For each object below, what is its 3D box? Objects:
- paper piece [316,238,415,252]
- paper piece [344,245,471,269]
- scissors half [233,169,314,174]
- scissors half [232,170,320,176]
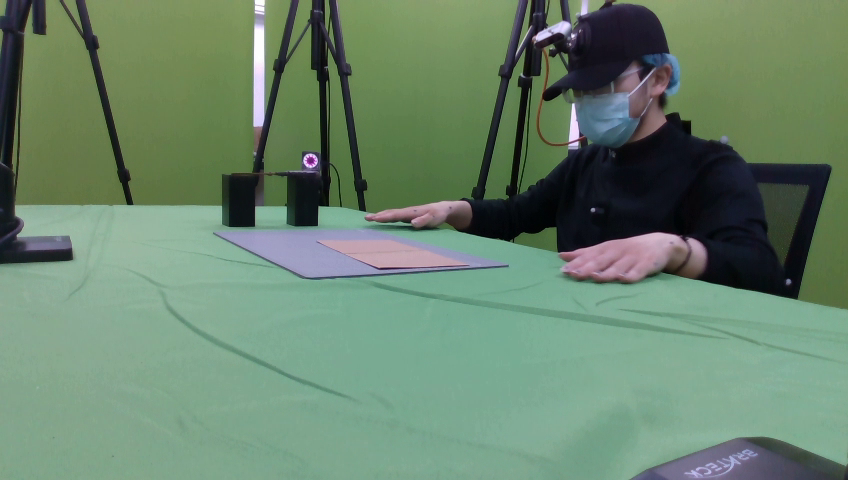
[{"bbox_3d":[-0.088,0.006,0.964,0.136,0.004,0.135,-2,8,-27],"label":"paper piece"},{"bbox_3d":[-0.027,0.024,0.847,0.137,0.008,0.137,-5,11,-26],"label":"paper piece"},{"bbox_3d":[-0.304,-0.138,1.228,0.176,0.013,0.040,-7,18,-41],"label":"scissors half"},{"bbox_3d":[-0.293,-0.133,1.212,0.176,0.013,0.040,-2,10,-24],"label":"scissors half"}]
